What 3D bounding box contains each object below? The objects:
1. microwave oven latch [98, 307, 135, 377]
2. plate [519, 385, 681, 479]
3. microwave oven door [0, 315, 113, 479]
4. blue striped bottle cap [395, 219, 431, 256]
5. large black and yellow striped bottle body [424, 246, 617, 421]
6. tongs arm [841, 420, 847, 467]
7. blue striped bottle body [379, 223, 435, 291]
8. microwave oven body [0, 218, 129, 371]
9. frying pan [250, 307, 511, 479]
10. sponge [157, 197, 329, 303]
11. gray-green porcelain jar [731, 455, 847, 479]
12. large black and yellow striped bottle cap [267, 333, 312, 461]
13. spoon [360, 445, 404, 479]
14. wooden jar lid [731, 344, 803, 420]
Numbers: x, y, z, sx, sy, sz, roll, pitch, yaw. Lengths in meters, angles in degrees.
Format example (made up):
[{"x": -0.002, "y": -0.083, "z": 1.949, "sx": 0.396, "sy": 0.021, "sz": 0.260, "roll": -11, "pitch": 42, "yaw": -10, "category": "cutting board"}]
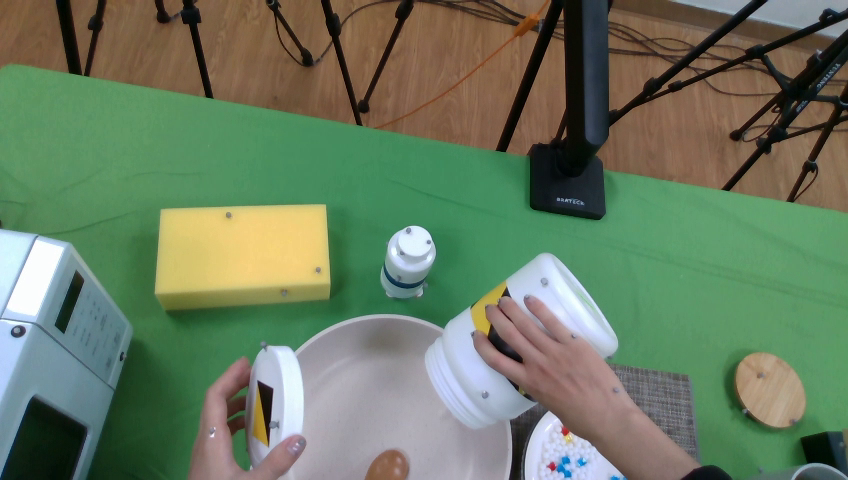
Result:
[{"x": -0.362, "y": 0.118, "z": 0.706, "sx": 0.030, "sy": 0.029, "sz": 0.078, "roll": 10, "pitch": 64, "yaw": -7, "category": "microwave oven latch"}, {"x": 0.216, "y": 0.289, "z": 0.759, "sx": 0.210, "sy": 0.038, "sz": 0.207, "roll": 4, "pitch": 64, "yaw": -9, "category": "plate"}, {"x": -0.370, "y": 0.267, "z": 0.518, "sx": 0.039, "sy": 0.245, "sz": 0.353, "roll": 9, "pitch": 63, "yaw": -7, "category": "microwave oven door"}, {"x": -0.013, "y": -0.003, "z": 0.751, "sx": 0.045, "sy": 0.021, "sz": 0.044, "roll": 4, "pitch": 61, "yaw": -7, "category": "blue striped bottle cap"}, {"x": 0.103, "y": 0.108, "z": 0.676, "sx": 0.184, "sy": 0.131, "sz": 0.130, "roll": -38, "pitch": 73, "yaw": 15, "category": "large black and yellow striped bottle body"}, {"x": 0.568, "y": 0.420, "z": 0.741, "sx": 0.051, "sy": 0.026, "sz": 0.382, "roll": 5, "pitch": 74, "yaw": -11, "category": "tongs arm"}, {"x": -0.022, "y": 0.018, "z": 0.797, "sx": 0.063, "sy": 0.121, "sz": 0.062, "roll": 5, "pitch": 64, "yaw": -9, "category": "blue striped bottle body"}, {"x": -0.509, "y": 0.207, "z": 0.524, "sx": 0.327, "sy": 0.261, "sz": 0.438, "roll": 10, "pitch": 64, "yaw": -7, "category": "microwave oven body"}, {"x": -0.012, "y": 0.310, "z": 0.665, "sx": 0.307, "sy": 0.103, "sz": 0.483, "roll": -13, "pitch": 60, "yaw": -16, "category": "frying pan"}, {"x": -0.231, "y": 0.012, "z": 0.792, "sx": 0.207, "sy": 0.061, "sz": 0.117, "roll": -3, "pitch": 66, "yaw": -14, "category": "sponge"}, {"x": 0.448, "y": 0.326, "z": 0.743, "sx": 0.106, "sy": 0.127, "sz": 0.105, "roll": 5, "pitch": 64, "yaw": -9, "category": "gray-green porcelain jar"}, {"x": -0.123, "y": 0.143, "z": 0.554, "sx": 0.019, "sy": 0.115, "sz": 0.114, "roll": -12, "pitch": 67, "yaw": -11, "category": "large black and yellow striped bottle cap"}, {"x": -0.086, "y": 0.290, "z": 0.668, "sx": 0.041, "sy": 0.021, "sz": 0.194, "roll": 56, "pitch": 38, "yaw": 5, "category": "spoon"}, {"x": 0.489, "y": 0.204, "z": 0.870, "sx": 0.108, "sy": 0.021, "sz": 0.107, "roll": 4, "pitch": 65, "yaw": -9, "category": "wooden jar lid"}]
